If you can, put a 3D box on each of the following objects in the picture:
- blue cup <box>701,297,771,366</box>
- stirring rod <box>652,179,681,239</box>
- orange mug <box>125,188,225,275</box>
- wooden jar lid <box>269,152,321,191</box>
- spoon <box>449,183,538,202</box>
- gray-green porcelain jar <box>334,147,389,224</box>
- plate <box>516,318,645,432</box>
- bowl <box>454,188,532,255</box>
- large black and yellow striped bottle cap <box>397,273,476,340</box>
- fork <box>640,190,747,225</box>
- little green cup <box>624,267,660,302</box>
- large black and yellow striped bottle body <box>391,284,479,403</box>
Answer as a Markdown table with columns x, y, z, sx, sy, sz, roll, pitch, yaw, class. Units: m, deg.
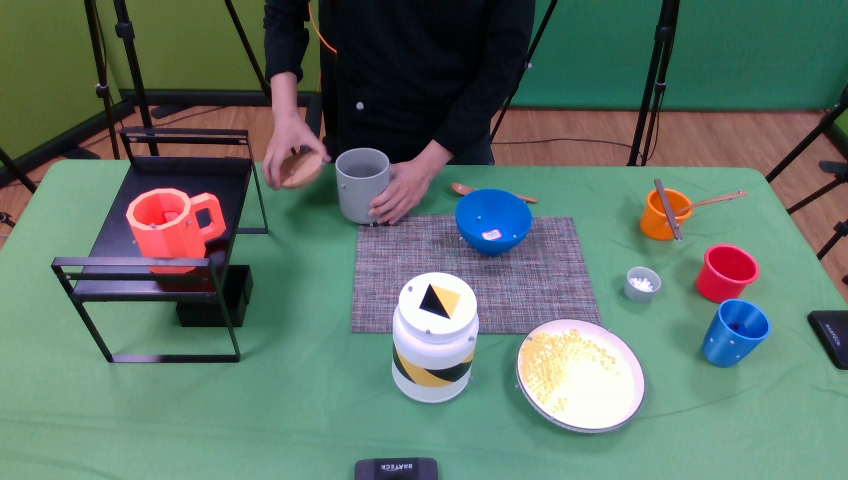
| x | y | z | sx | sy | sz | roll | pitch | yaw | class |
| --- | --- | --- | --- | --- | --- | --- | --- | --- | --- |
| 0.519 | 0.162 | 1.025 | 0.093 | 0.101 | 0.092 | 3 | 45 | -3 | blue cup |
| 0.481 | -0.065 | 1.204 | 0.014 | 0.006 | 0.175 | 1 | 46 | -1 | stirring rod |
| -0.357 | -0.019 | 0.884 | 0.126 | 0.101 | 0.083 | -29 | 54 | -23 | orange mug |
| -0.254 | -0.134 | 1.200 | 0.108 | 0.021 | 0.107 | -12 | 40 | 11 | wooden jar lid |
| 0.150 | -0.101 | 1.306 | 0.194 | 0.022 | 0.041 | 7 | 27 | 2 | spoon |
| -0.123 | -0.104 | 1.212 | 0.106 | 0.127 | 0.105 | 1 | 43 | -1 | gray-green porcelain jar |
| 0.253 | 0.221 | 0.992 | 0.209 | 0.038 | 0.208 | 2 | 46 | -2 | plate |
| 0.131 | -0.025 | 1.186 | 0.151 | 0.077 | 0.150 | 2 | 46 | -2 | bowl |
| 0.018 | 0.094 | 0.878 | 0.115 | 0.019 | 0.114 | 3 | 46 | -3 | large black and yellow striped bottle cap |
| 0.533 | -0.065 | 1.211 | 0.207 | 0.019 | 0.028 | -22 | 28 | 39 | fork |
| 0.406 | 0.084 | 1.135 | 0.061 | 0.039 | 0.061 | 3 | 45 | -3 | little green cup |
| 0.015 | 0.153 | 0.938 | 0.131 | 0.185 | 0.130 | 2 | 46 | -2 | large black and yellow striped bottle body |
